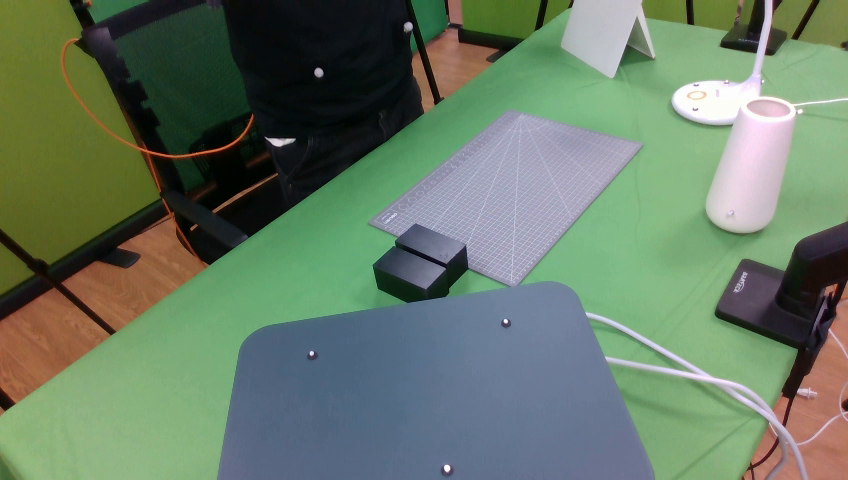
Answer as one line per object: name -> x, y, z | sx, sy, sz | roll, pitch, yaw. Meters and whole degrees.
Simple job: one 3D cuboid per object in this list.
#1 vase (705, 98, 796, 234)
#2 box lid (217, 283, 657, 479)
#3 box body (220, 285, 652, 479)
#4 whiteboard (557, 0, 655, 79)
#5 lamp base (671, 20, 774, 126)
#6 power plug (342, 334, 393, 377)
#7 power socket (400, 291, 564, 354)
vase -> 0.480, -0.104, 0.889 | 0.098, 0.201, 0.097 | -4, 42, 4
box lid -> -0.004, 0.155, 0.568 | 0.372, 0.015, 0.261 | -8, 39, -2
box body -> 0.005, 0.211, 0.616 | 0.364, 0.161, 0.252 | -9, 40, -2
whiteboard -> 0.462, -0.542, 1.367 | 0.145, 0.306, 0.215 | -3, 36, -25
lamp base -> 0.581, -0.332, 1.154 | 0.179, 0.181, 0.160 | 2, 41, 7
power plug -> -0.076, 0.156, 0.807 | 0.073, 0.035, 0.052 | 32, 38, -14
power socket -> 0.079, 0.111, 0.823 | 0.227, 0.033, 0.072 | -5, 41, 1
